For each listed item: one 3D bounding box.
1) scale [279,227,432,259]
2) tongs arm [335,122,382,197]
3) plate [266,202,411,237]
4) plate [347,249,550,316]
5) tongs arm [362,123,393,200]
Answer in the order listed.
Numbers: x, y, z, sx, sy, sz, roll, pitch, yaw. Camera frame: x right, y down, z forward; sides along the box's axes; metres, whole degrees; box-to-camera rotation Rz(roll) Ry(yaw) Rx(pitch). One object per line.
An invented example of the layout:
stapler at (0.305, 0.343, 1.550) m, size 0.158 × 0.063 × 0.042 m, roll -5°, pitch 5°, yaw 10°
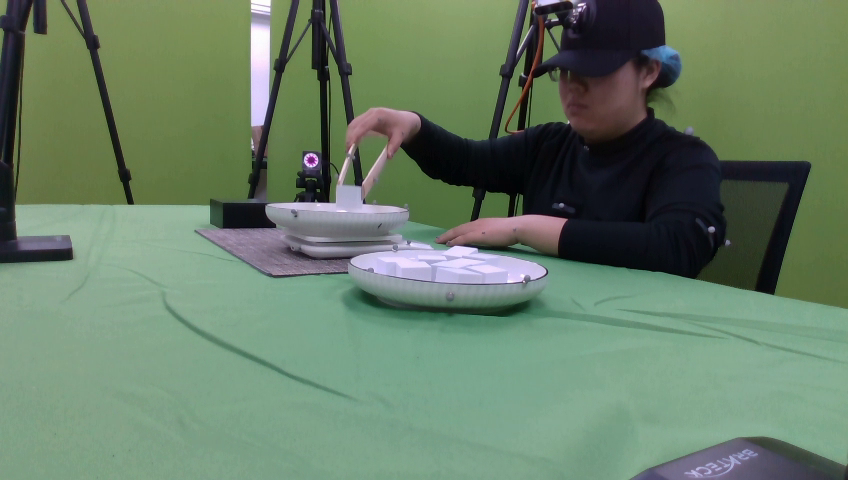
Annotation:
scale at (-0.100, 0.001, 0.899) m, size 0.202 × 0.031 × 0.148 m, roll -1°, pitch 8°, yaw -31°
tongs arm at (-0.102, -0.144, 1.007) m, size 0.051 × 0.026 × 0.384 m, roll 5°, pitch 23°, yaw -4°
plate at (-0.123, -0.030, 0.879) m, size 0.208 × 0.039 × 0.207 m, roll 2°, pitch 6°, yaw 0°
plate at (0.025, 0.042, 0.627) m, size 0.209 × 0.038 × 0.209 m, roll 2°, pitch 7°, yaw 0°
tongs arm at (-0.078, -0.141, 1.008) m, size 0.028 × 0.028 × 0.387 m, roll 3°, pitch 23°, yaw 1°
